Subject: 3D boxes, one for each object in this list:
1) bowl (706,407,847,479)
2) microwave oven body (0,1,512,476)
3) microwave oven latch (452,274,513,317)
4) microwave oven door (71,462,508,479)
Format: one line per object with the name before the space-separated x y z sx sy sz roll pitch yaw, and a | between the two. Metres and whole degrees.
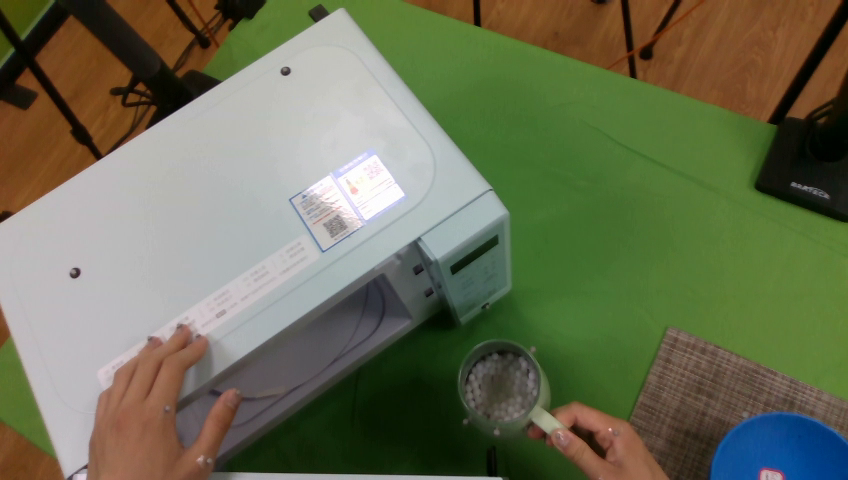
bowl | 0.356 0.249 0.611 0.151 0.077 0.150 -3 68 8
microwave oven body | -0.171 0.015 0.681 0.442 0.262 0.323 -35 69 -5
microwave oven latch | 0.071 0.060 0.732 0.079 0.030 0.030 -33 68 -4
microwave oven door | -0.099 0.234 0.580 0.355 0.245 0.039 -2 69 7
